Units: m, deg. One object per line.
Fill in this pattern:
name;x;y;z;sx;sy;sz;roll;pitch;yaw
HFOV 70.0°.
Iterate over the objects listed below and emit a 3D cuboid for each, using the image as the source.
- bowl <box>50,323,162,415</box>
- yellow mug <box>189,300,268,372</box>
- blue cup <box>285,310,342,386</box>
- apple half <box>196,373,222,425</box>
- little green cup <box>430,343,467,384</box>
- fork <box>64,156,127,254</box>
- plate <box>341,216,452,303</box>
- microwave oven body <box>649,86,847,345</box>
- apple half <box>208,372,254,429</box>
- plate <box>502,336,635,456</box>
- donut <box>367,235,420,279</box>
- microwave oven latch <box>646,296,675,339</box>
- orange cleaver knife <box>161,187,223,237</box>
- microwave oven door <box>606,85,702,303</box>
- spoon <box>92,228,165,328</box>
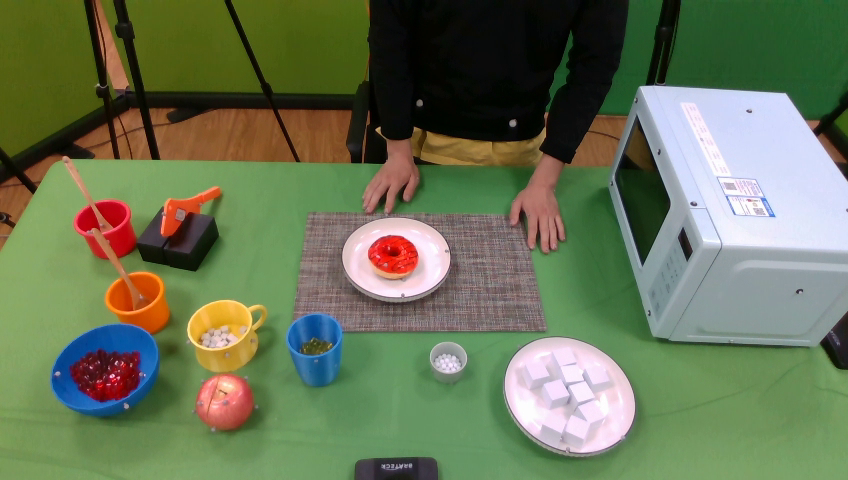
bowl;-0.472;0.209;0.924;0.151;0.077;0.150;3;45;-2
yellow mug;-0.315;0.149;1.001;0.131;0.064;0.099;-32;55;-31
blue cup;-0.169;0.179;0.958;0.093;0.101;0.092;1;44;-1
apple half;-0.322;0.239;0.906;0.033;0.081;0.081;7;46;-1
little green cup;0.039;0.203;0.994;0.061;0.039;0.061;2;46;-2
fork;-0.614;-0.064;1.130;0.028;0.018;0.207;-29;97;-16
plate;-0.052;0.039;1.140;0.209;0.038;0.208;2;46;-2
microwave oven body;0.568;-0.053;1.118;0.326;0.261;0.439;2;45;-1
apple half;-0.282;0.244;0.908;0.053;0.075;0.080;7;43;-1
plate;0.225;0.248;0.963;0.208;0.039;0.206;2;46;-2
donut;-0.057;0.032;1.132;0.099;0.048;0.098;3;45;-3
microwave oven latch;0.412;0.134;1.061;0.030;0.029;0.078;4;45;1
orange cleaver knife;-0.448;-0.058;1.180;0.012;0.077;0.211;13;17;6
microwave oven door;0.423;-0.094;1.140;0.039;0.245;0.353;2;46;-1
spoon;-0.496;0.063;1.014;0.041;0.194;0.021;-33;12;-31
